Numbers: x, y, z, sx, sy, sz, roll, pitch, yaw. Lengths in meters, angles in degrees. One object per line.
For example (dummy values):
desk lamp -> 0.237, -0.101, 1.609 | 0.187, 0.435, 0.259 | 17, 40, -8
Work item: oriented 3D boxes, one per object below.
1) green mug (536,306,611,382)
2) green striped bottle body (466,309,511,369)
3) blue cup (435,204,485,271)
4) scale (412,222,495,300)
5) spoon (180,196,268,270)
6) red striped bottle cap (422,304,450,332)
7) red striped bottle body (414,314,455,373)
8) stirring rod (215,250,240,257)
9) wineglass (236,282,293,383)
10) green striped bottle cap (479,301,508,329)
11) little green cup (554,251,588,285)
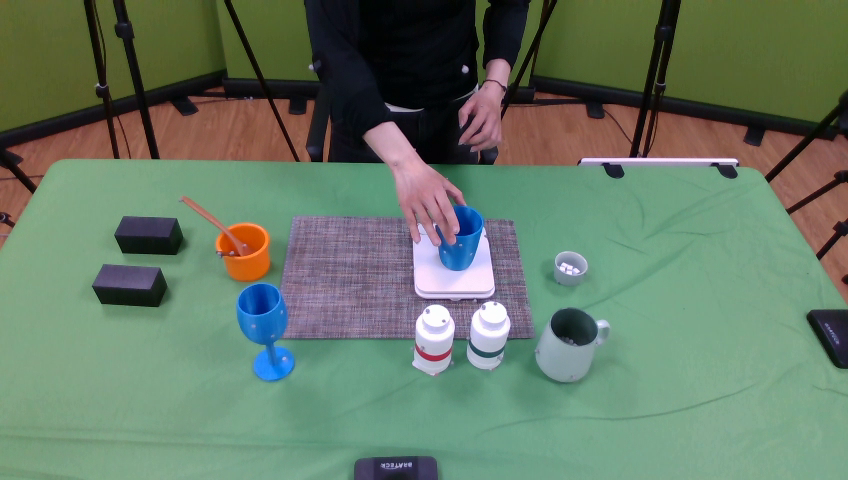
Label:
green mug -> 0.250, 0.167, 0.996 | 0.125, 0.105, 0.092 | -15, 48, -18
green striped bottle body -> 0.105, 0.154, 0.987 | 0.063, 0.120, 0.063 | 2, 46, -2
blue cup -> 0.061, 0.001, 1.097 | 0.092, 0.101, 0.092 | 1, 44, 0
scale -> 0.053, 0.031, 1.158 | 0.149, 0.032, 0.199 | 0, 46, -4
spoon -> -0.360, -0.014, 1.094 | 0.021, 0.194, 0.041 | -27, 26, 31
red striped bottle cap -> 0.018, 0.121, 0.939 | 0.044, 0.018, 0.044 | 0, 49, 0
red striped bottle body -> 0.016, 0.158, 0.977 | 0.063, 0.120, 0.062 | 2, 46, -2
stirring rod -> -0.339, 0.025, 1.059 | 0.014, 0.176, 0.006 | 16, 86, -6
wineglass -> -0.243, 0.143, 0.934 | 0.074, 0.173, 0.073 | 2, 46, -2
green striped bottle cap -> 0.109, 0.117, 0.950 | 0.044, 0.020, 0.044 | 2, 46, -2
little green cup -> 0.277, 0.055, 1.151 | 0.061, 0.039, 0.061 | 1, 46, -1
